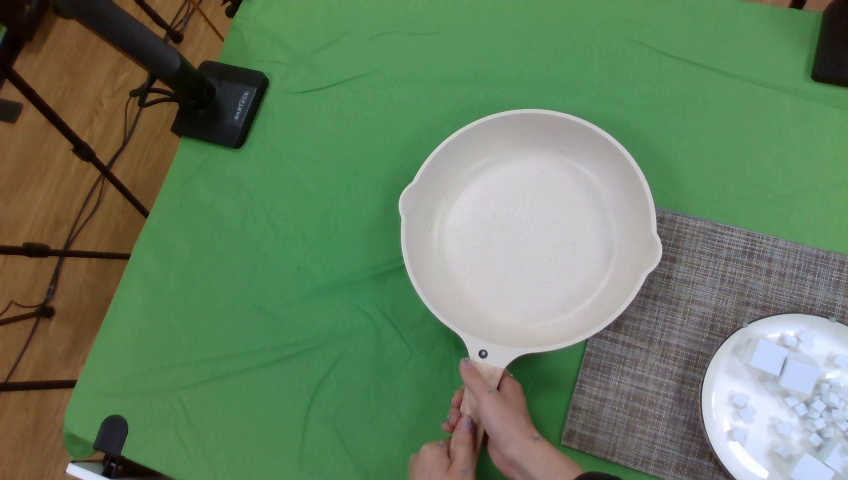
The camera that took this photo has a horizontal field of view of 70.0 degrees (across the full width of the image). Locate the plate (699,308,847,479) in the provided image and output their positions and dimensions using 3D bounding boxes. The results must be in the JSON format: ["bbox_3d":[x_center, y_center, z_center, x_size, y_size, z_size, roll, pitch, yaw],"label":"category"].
[{"bbox_3d":[0.398,0.176,0.640,0.207,0.039,0.206,-3,74,10],"label":"plate"}]

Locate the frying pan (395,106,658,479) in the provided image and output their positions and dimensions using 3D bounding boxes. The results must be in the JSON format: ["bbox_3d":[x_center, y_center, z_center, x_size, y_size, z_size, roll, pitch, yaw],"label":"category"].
[{"bbox_3d":[0.085,0.080,0.694,0.305,0.103,0.485,14,72,15],"label":"frying pan"}]
